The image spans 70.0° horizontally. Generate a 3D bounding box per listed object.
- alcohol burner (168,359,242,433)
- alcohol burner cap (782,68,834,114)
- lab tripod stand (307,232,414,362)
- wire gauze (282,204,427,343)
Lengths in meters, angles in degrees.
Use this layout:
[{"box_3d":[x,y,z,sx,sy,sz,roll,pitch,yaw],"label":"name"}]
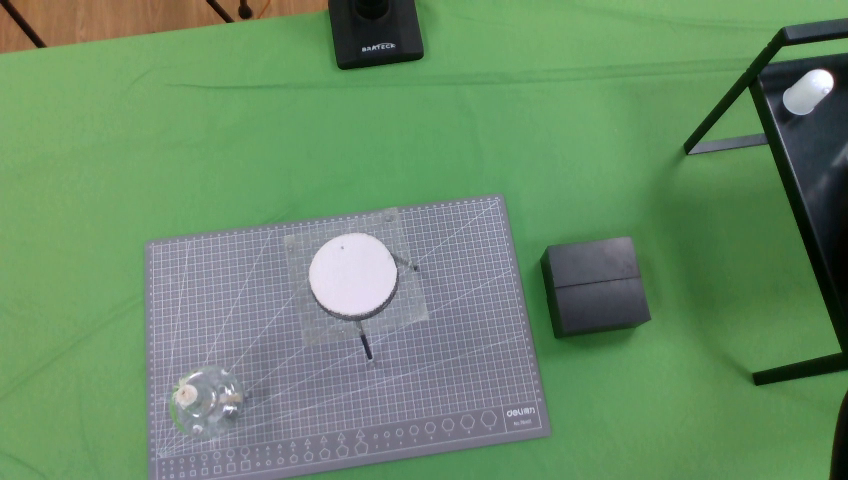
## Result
[{"box_3d":[-0.236,0.162,0.640,0.078,0.120,0.077,0,70,-1],"label":"alcohol burner"},{"box_3d":[0.381,-0.149,0.596,0.034,0.048,0.033,0,73,0],"label":"alcohol burner cap"},{"box_3d":[-0.070,0.050,0.666,0.148,0.132,0.147,0,70,-1],"label":"lab tripod stand"},{"box_3d":[-0.071,0.032,0.602,0.125,0.011,0.120,-13,73,-6],"label":"wire gauze"}]
